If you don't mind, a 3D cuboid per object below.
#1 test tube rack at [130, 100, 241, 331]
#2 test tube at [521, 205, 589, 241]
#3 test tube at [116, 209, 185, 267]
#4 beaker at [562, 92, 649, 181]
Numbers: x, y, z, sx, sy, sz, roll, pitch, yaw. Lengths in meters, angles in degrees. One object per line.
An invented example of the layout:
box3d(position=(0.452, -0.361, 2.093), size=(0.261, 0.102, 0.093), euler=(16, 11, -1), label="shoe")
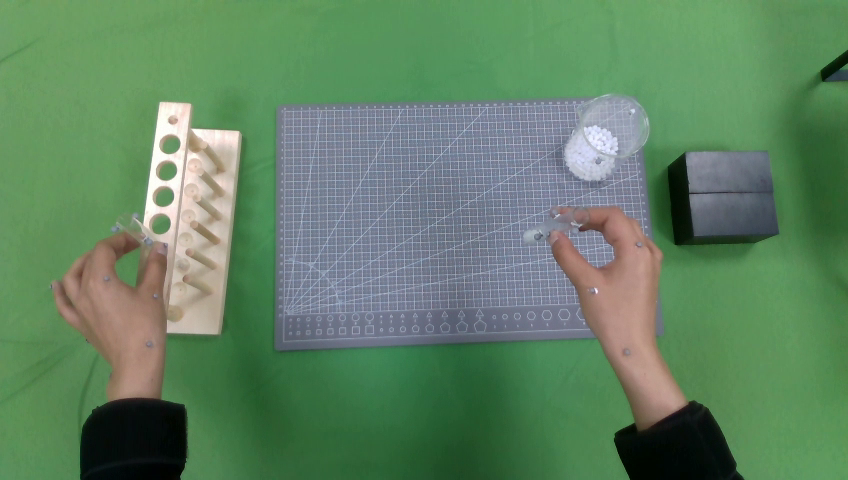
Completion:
box3d(position=(-0.260, -0.024, 0.674), size=(0.067, 0.085, 0.241), euler=(3, 79, -1), label="test tube rack")
box3d(position=(0.115, -0.013, 0.553), size=(0.017, 0.150, 0.017), euler=(1, 84, -7), label="test tube")
box3d(position=(-0.274, 0.002, 0.618), size=(0.017, 0.151, 0.017), euler=(1, 72, -2), label="test tube")
box3d(position=(0.202, -0.116, 0.700), size=(0.084, 0.100, 0.074), euler=(29, 79, 6), label="beaker")
